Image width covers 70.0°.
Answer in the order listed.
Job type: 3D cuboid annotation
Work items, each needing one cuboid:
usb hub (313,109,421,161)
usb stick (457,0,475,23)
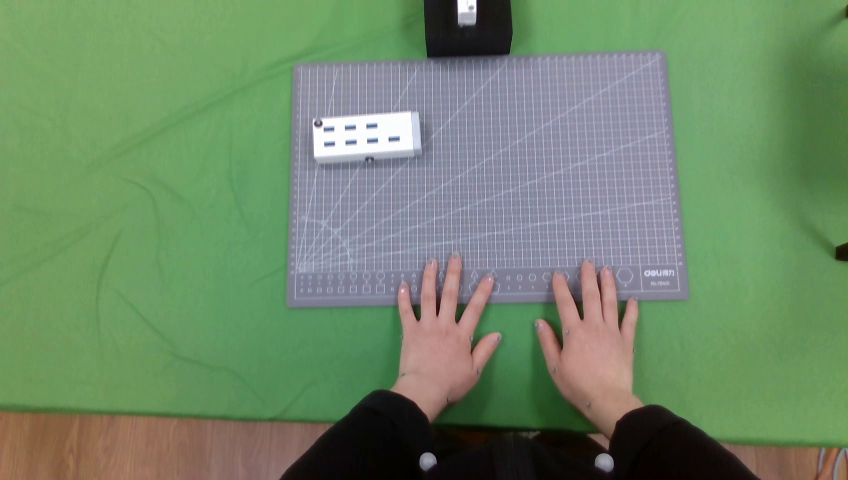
[{"bbox_3d":[-0.067,-0.124,0.711,0.125,0.025,0.049,-4,78,1],"label":"usb hub"},{"bbox_3d":[0.047,-0.279,0.689,0.021,0.027,0.059,-1,76,4],"label":"usb stick"}]
